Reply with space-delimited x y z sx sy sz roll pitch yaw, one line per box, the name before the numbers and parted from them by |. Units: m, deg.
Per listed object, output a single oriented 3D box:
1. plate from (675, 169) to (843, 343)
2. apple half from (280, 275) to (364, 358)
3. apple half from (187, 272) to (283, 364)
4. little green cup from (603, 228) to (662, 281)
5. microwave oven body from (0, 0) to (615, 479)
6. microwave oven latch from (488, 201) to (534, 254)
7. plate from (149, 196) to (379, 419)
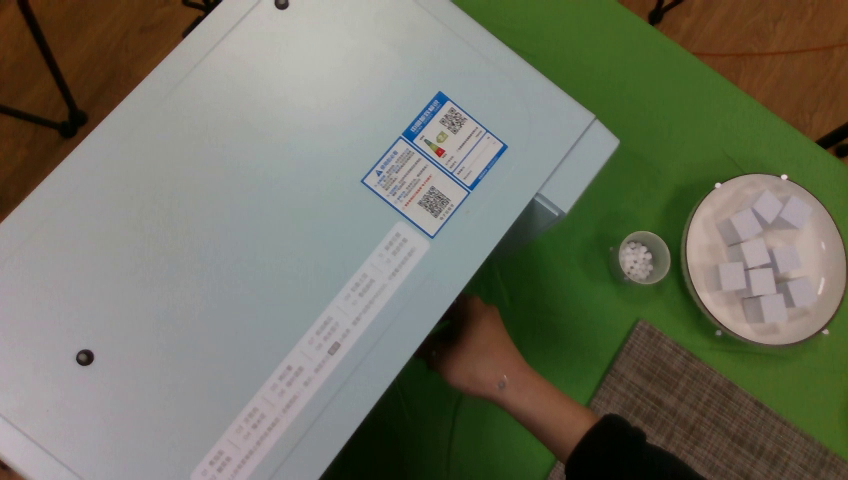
plate | 0.395 0.019 0.725 0.208 0.039 0.207 1 80 -8
apple half | -0.100 0.073 0.575 0.081 0.033 0.081 1 77 -5
apple half | -0.174 0.073 0.548 0.074 0.053 0.081 -43 99 -4
little green cup | 0.239 0.020 0.701 0.061 0.038 0.061 1 81 -7
microwave oven body | -0.123 0.005 0.536 0.326 0.260 0.441 38 78 0
microwave oven latch | 0.088 -0.023 0.669 0.030 0.029 0.079 40 78 0
plate | -0.148 0.063 0.577 0.209 0.038 0.208 2 80 -8
